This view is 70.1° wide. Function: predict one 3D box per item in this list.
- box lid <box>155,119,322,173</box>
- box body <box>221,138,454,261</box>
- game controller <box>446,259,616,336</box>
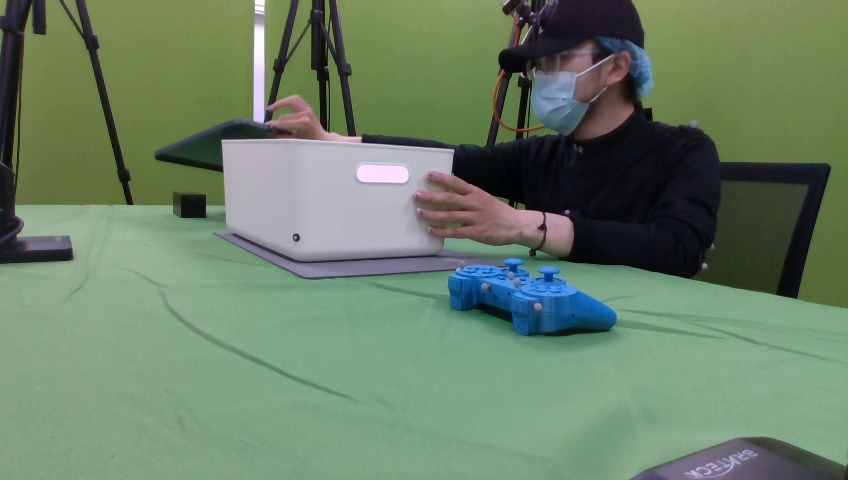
[{"bbox_3d":[-0.389,-0.198,1.390,0.262,0.015,0.373,-15,-9,27],"label":"box lid"},{"bbox_3d":[-0.152,-0.074,0.963,0.255,0.160,0.362,-3,9,-33],"label":"box body"},{"bbox_3d":[0.091,0.048,0.562,0.097,0.051,0.154,-6,10,-32],"label":"game controller"}]
